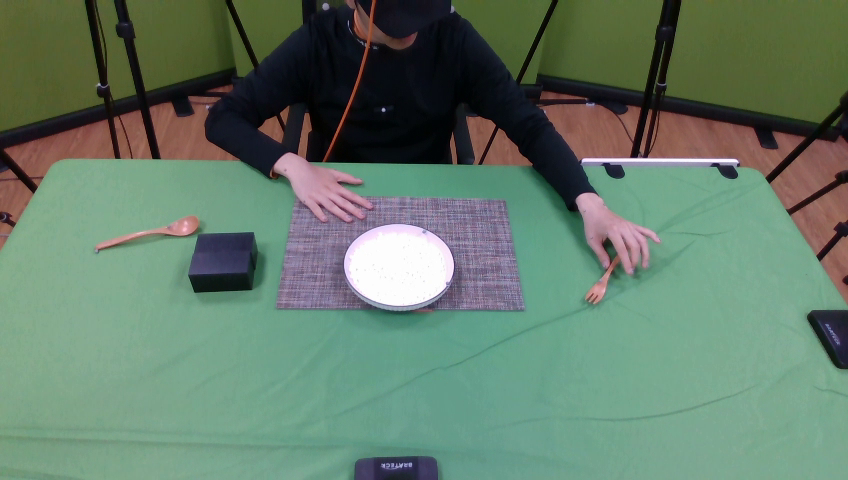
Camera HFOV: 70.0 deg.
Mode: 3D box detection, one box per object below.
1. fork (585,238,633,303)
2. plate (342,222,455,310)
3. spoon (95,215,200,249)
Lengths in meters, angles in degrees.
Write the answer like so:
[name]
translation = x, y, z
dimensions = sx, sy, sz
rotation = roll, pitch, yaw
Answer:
[fork]
translation = 0.362, 0.055, 1.172
dimensions = 0.028, 0.019, 0.207
rotation = 24, 51, 27
[plate]
translation = -0.047, 0.052, 1.127
dimensions = 0.209, 0.038, 0.208
rotation = 2, 46, -2
[spoon]
translation = -0.531, -0.014, 1.168
dimensions = 0.194, 0.022, 0.041
rotation = -13, 64, -16
